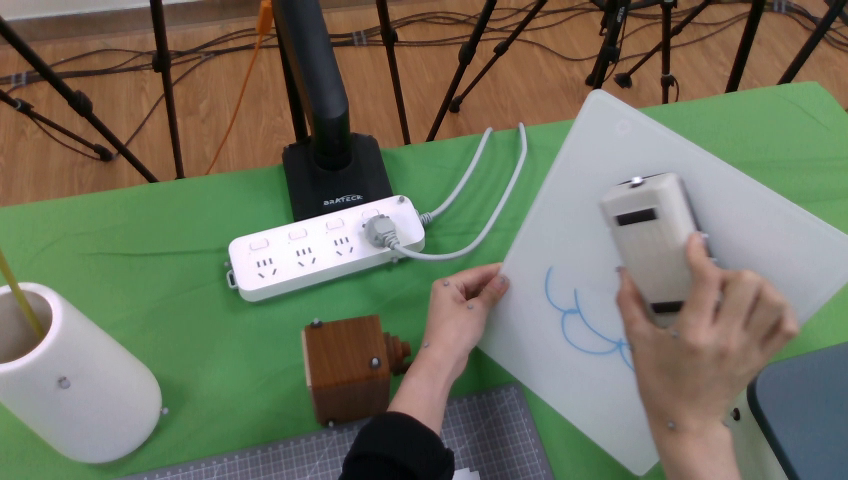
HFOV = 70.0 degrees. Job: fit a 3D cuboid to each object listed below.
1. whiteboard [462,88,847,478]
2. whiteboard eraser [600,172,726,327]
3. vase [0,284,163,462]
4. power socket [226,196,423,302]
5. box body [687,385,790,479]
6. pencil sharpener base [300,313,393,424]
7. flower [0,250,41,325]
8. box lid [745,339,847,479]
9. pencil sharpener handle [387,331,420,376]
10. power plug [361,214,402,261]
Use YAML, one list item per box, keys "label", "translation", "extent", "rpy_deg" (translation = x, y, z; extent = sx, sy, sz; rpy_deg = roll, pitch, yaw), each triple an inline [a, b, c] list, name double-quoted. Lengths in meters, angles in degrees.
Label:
- label: "whiteboard"
  translation: [0.204, 0.031, 0.559]
  extent: [0.216, 0.307, 0.144]
  rpy_deg: [38, 43, 19]
- label: "whiteboard eraser"
  translation: [0.176, 0.008, 0.445]
  extent: [0.042, 0.055, 0.113]
  rpy_deg: [-35, 105, -45]
- label: "vase"
  translation: [-0.288, 0.112, 0.492]
  extent: [0.098, 0.201, 0.097]
  rpy_deg: [1, 57, -2]
- label: "power socket"
  translation: [-0.107, 0.008, 0.674]
  extent: [0.227, 0.033, 0.071]
  rpy_deg: [-16, 60, -15]
- label: "box body"
  translation: [0.410, 0.267, 0.470]
  extent: [0.255, 0.161, 0.360]
  rpy_deg: [-11, 59, -12]
- label: "pencil sharpener base"
  translation: [-0.068, 0.120, 0.560]
  extent: [0.077, 0.108, 0.060]
  rpy_deg: [-8, 57, -10]
- label: "flower"
  translation: [-0.282, 0.051, 0.434]
  extent: [0.038, 0.365, 0.043]
  rpy_deg: [-21, 43, -25]
- label: "box lid"
  translation: [0.415, 0.224, 0.409]
  extent: [0.264, 0.015, 0.367]
  rpy_deg: [-11, 58, -12]
- label: "pencil sharpener handle"
  translation: [-0.018, 0.106, 0.559]
  extent: [0.031, 0.068, 0.035]
  rpy_deg: [-8, 57, -10]
- label: "power plug"
  translation: [-0.047, 0.004, 0.654]
  extent: [0.035, 0.053, 0.072]
  rpy_deg: [-7, 59, -9]
